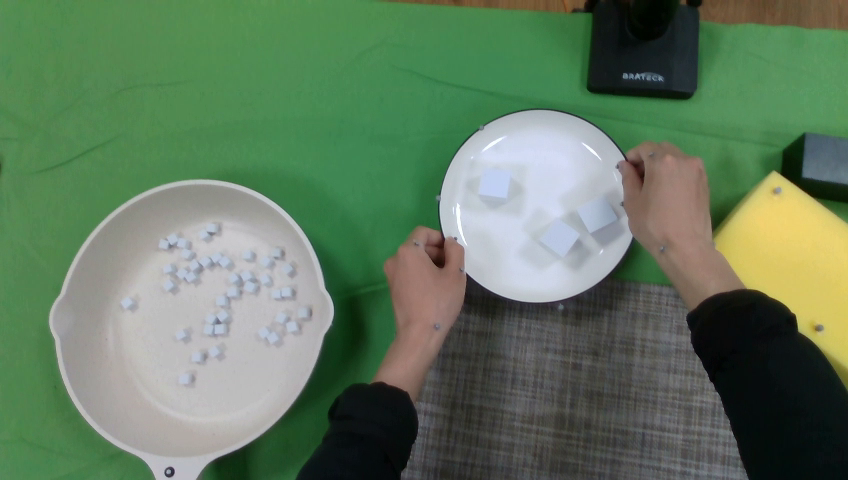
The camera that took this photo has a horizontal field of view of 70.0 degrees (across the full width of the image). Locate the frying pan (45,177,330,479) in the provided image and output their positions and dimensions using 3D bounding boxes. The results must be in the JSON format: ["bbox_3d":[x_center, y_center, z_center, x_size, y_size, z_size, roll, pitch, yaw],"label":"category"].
[{"bbox_3d":[-0.247,0.177,0.622,0.306,0.103,0.484,-1,70,6],"label":"frying pan"}]

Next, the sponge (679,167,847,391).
[{"bbox_3d":[0.386,0.039,0.610,0.206,0.061,0.118,41,83,13],"label":"sponge"}]

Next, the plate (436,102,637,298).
[{"bbox_3d":[0.117,-0.041,0.648,0.207,0.039,0.207,-1,84,7],"label":"plate"}]
